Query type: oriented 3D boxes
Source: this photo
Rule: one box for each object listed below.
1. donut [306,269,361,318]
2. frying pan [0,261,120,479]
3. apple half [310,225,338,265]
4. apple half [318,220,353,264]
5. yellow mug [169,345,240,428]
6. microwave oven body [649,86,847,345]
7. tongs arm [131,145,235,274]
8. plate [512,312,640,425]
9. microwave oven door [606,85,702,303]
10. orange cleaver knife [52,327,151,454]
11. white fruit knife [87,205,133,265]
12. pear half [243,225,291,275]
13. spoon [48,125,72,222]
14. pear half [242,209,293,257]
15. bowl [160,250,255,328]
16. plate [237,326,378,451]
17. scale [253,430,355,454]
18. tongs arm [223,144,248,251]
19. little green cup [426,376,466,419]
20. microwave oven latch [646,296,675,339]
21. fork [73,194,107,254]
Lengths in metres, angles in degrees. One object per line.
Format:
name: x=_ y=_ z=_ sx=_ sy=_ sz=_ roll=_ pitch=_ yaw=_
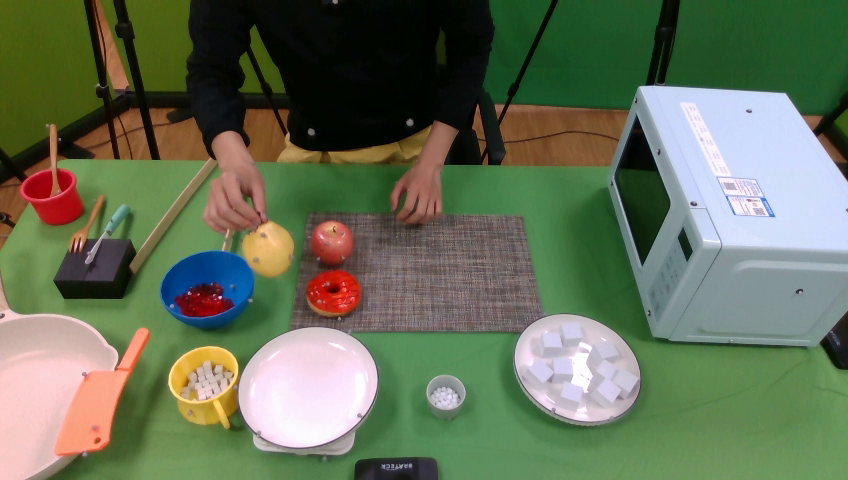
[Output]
donut: x=-0.160 y=0.094 z=1.075 sx=0.099 sy=0.048 sz=0.098 roll=4 pitch=45 yaw=-3
frying pan: x=-0.647 y=0.164 z=0.936 sx=0.307 sy=0.103 sz=0.485 roll=-19 pitch=58 yaw=-22
apple half: x=-0.193 y=0.017 z=1.125 sx=0.033 sy=0.081 sz=0.081 roll=-26 pitch=53 yaw=-31
apple half: x=-0.162 y=0.001 z=1.144 sx=0.053 sy=0.075 sz=0.080 roll=-25 pitch=50 yaw=-29
yellow mug: x=-0.323 y=0.230 z=0.922 sx=0.100 sy=0.064 sz=0.130 roll=-24 pitch=53 yaw=-25
microwave oven body: x=0.567 y=-0.053 z=1.118 sx=0.326 sy=0.261 sz=0.439 roll=2 pitch=45 yaw=-1
tongs arm: x=-0.484 y=-0.076 z=1.235 sx=0.028 sy=0.028 sz=0.385 roll=6 pitch=44 yaw=13
plate: x=0.246 y=0.213 z=0.999 sx=0.208 sy=0.039 sz=0.206 roll=2 pitch=46 yaw=-2
microwave oven door: x=0.422 y=-0.094 z=1.140 sx=0.039 sy=0.245 sz=0.353 roll=2 pitch=46 yaw=-1
orange cleaver knife: x=-0.462 y=0.212 z=0.879 sx=0.077 sy=0.012 sz=0.210 roll=7 pitch=45 yaw=-2
white fruit knife: x=-0.584 y=-0.013 z=1.129 sx=0.016 sy=0.027 sz=0.206 roll=0 pitch=31 yaw=-5
pear half: x=-0.238 y=0.021 z=0.912 sx=0.070 sy=0.088 sz=0.031 roll=-6 pitch=38 yaw=-6
spoon: x=-0.718 y=-0.131 z=1.189 sx=0.041 sy=0.021 sz=0.193 roll=-3 pitch=90 yaw=-7
pear half: x=-0.242 y=-0.009 z=0.934 sx=0.076 sy=0.110 sz=0.055 roll=-5 pitch=39 yaw=-6
bowl: x=-0.362 y=0.098 z=1.040 sx=0.151 sy=0.077 sz=0.150 roll=2 pitch=45 yaw=-2
plate: x=-0.174 y=0.224 z=0.917 sx=0.209 sy=0.038 sz=0.208 roll=2 pitch=46 yaw=-2
scale: x=-0.175 y=0.236 z=0.951 sx=0.149 sy=0.032 sz=0.199 roll=4 pitch=45 yaw=0
tongs arm: x=-0.398 y=-0.072 z=1.232 sx=0.051 sy=0.026 sz=0.382 roll=-2 pitch=45 yaw=0
little green cup: x=0.033 y=0.248 z=0.950 sx=0.061 sy=0.039 sz=0.061 roll=2 pitch=46 yaw=-2
microwave oven latch: x=0.412 y=0.134 z=1.061 sx=0.030 sy=0.029 sz=0.078 roll=4 pitch=45 yaw=1
fork: x=-0.634 y=-0.035 z=1.159 sx=0.028 sy=0.019 sz=0.206 roll=-7 pitch=32 yaw=-9
